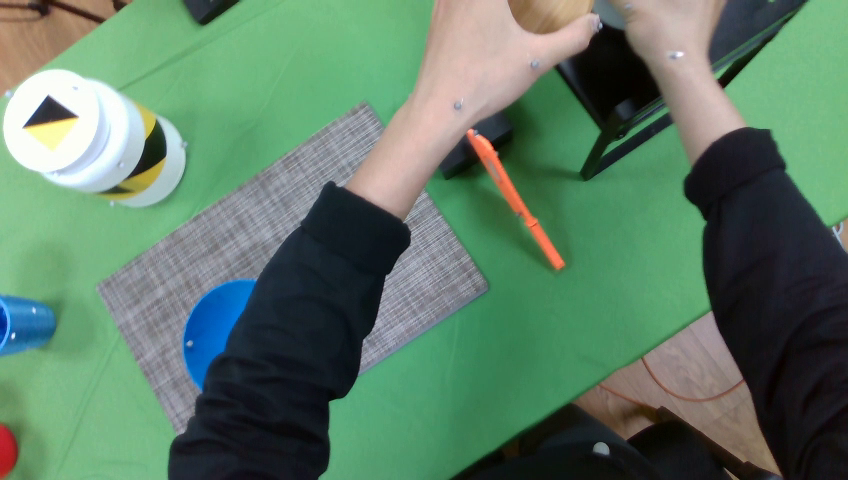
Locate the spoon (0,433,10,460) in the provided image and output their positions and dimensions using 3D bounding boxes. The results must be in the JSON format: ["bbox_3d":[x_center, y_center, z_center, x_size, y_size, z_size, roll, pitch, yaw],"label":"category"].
[{"bbox_3d":[-0.640,0.301,0.770,0.194,0.021,0.041,-20,79,-39],"label":"spoon"}]

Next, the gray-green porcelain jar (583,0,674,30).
[{"bbox_3d":[0.191,-0.263,0.550,0.106,0.127,0.105,-1,81,9],"label":"gray-green porcelain jar"}]

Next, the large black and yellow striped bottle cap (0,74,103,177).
[{"bbox_3d":[-0.419,-0.129,0.680,0.115,0.019,0.114,-1,86,7],"label":"large black and yellow striped bottle cap"}]

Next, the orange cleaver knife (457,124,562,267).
[{"bbox_3d":[0.105,-0.053,0.745,0.012,0.076,0.213,-37,111,-2],"label":"orange cleaver knife"}]

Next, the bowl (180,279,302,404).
[{"bbox_3d":[-0.217,0.125,0.765,0.151,0.077,0.151,-1,84,7],"label":"bowl"}]

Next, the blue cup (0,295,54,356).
[{"bbox_3d":[-0.550,0.112,0.798,0.092,0.100,0.092,0,84,5],"label":"blue cup"}]

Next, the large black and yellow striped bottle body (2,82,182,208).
[{"bbox_3d":[-0.410,-0.118,0.763,0.130,0.184,0.130,-1,83,7],"label":"large black and yellow striped bottle body"}]

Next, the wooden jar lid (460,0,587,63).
[{"bbox_3d":[0.075,-0.187,0.447,0.107,0.021,0.109,13,111,37],"label":"wooden jar lid"}]
